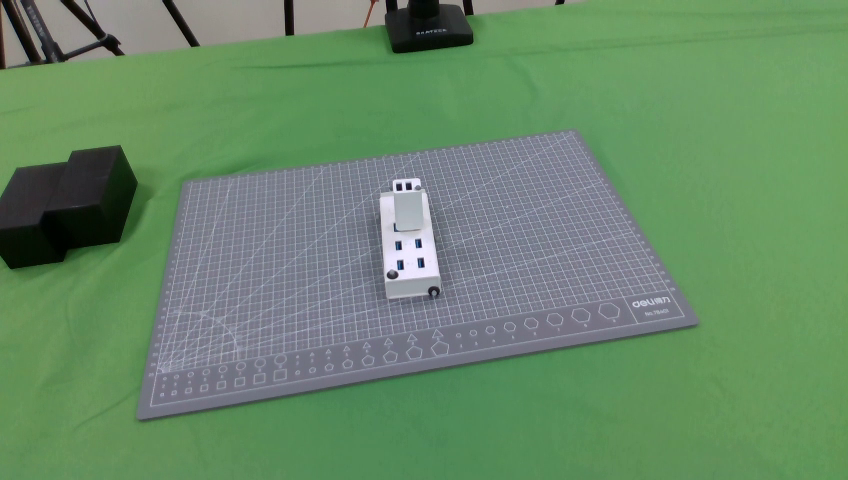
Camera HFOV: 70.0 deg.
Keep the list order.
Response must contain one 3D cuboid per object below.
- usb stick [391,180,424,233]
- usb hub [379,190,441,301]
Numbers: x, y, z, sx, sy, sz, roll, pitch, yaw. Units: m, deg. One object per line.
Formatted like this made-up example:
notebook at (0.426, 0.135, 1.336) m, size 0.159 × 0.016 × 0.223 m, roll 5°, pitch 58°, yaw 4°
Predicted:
usb stick at (-0.014, -0.025, 0.553) m, size 0.027 × 0.060 × 0.021 m, roll -9°, pitch 43°, yaw -2°
usb hub at (-0.016, 0.002, 0.568) m, size 0.049 × 0.025 × 0.124 m, roll -6°, pitch 43°, yaw -2°
